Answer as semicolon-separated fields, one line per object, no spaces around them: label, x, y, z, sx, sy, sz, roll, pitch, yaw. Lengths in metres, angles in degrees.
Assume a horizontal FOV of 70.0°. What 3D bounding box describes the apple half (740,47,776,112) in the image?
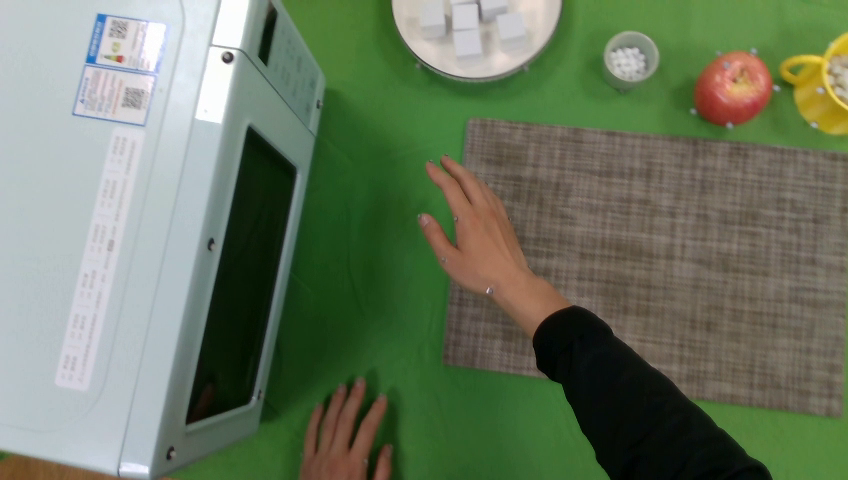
apple half;0.377;-0.184;0.691;0.033;0.081;0.081;-20;82;6

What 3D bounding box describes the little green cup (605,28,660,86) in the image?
little green cup;0.246;-0.215;0.722;0.061;0.039;0.061;-1;83;5

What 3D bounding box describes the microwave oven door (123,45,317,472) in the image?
microwave oven door;-0.187;0.023;0.605;0.039;0.244;0.355;9;84;6

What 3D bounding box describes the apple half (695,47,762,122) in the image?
apple half;0.340;-0.171;0.693;0.053;0.075;0.080;-20;86;6

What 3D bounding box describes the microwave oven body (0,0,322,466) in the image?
microwave oven body;-0.322;-0.042;0.627;0.326;0.261;0.440;10;85;5

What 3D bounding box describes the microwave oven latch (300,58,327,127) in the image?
microwave oven latch;-0.137;-0.178;0.727;0.030;0.029;0.079;11;85;5

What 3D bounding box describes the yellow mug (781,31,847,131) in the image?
yellow mug;0.476;-0.186;0.688;0.130;0.064;0.100;18;84;7

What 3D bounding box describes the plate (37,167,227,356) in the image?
plate;-0.317;0.024;0.672;0.209;0.038;0.208;0;84;4

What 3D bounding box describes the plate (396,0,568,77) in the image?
plate;0.071;-0.296;0.744;0.207;0.039;0.207;0;83;4

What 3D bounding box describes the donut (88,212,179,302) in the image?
donut;-0.316;0.019;0.659;0.099;0.048;0.099;0;85;5
